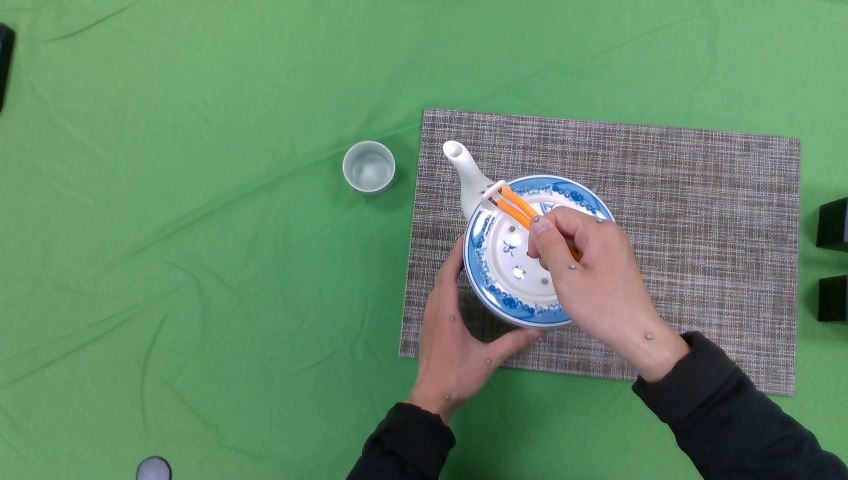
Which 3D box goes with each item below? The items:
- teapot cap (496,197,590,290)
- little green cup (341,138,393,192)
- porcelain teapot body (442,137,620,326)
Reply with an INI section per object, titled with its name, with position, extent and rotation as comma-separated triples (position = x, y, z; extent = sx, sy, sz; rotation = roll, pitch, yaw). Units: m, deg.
[teapot cap]
position = 0.106, 0.002, 0.539
extent = 0.085, 0.044, 0.085
rotation = -1, 80, 5
[little green cup]
position = -0.065, -0.086, 0.715
extent = 0.061, 0.039, 0.061
rotation = 0, 82, 2
[porcelain teapot body]
position = 0.089, -0.012, 0.582
extent = 0.145, 0.226, 0.204
rotation = -44, 80, -1
